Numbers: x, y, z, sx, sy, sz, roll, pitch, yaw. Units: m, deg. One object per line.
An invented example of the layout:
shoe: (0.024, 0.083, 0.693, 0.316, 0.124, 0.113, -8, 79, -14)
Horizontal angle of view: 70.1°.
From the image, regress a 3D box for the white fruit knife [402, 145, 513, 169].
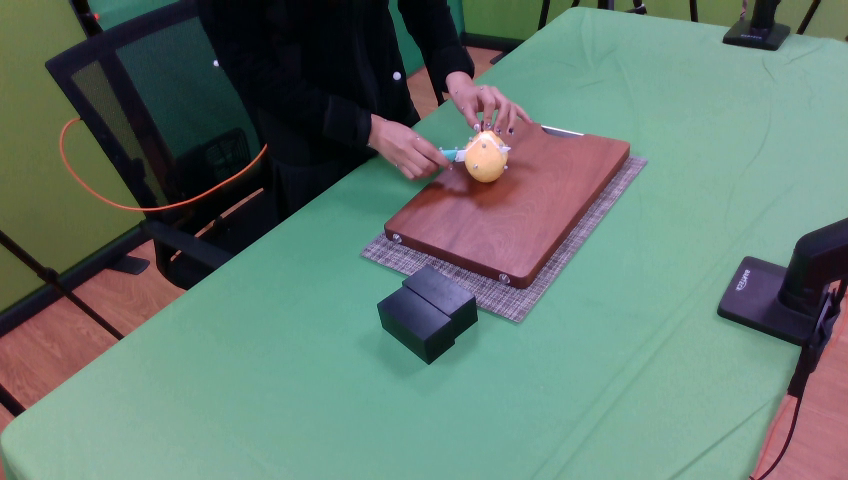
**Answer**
white fruit knife: (0.053, -0.147, 1.040, 0.206, 0.027, 0.016, -5, 42, 22)

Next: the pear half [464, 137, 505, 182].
pear half: (0.102, -0.130, 1.021, 0.070, 0.088, 0.031, 2, 48, 9)

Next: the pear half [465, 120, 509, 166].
pear half: (0.108, -0.164, 1.044, 0.076, 0.110, 0.056, 2, 41, 10)
